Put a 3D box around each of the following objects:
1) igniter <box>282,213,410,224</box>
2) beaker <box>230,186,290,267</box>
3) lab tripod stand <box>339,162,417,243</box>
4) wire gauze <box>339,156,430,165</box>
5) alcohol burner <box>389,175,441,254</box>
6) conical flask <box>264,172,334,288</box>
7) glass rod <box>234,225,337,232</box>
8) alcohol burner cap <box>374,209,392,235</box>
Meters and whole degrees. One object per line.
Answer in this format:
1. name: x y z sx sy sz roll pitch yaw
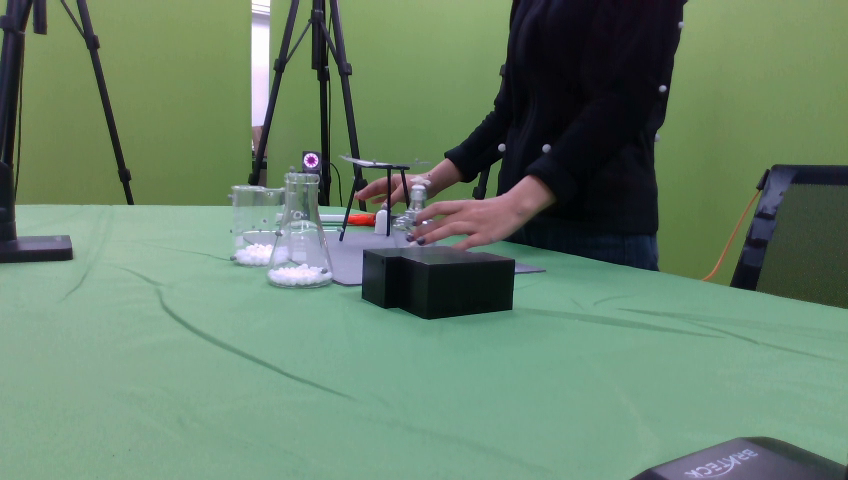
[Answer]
1. igniter: -0.159 -0.046 1.287 0.278 0.025 0.057 -1 -3 -21
2. beaker: -0.209 -0.019 0.778 0.074 0.100 0.084 3 6 4
3. lab tripod stand: -0.067 -0.065 1.027 0.148 0.131 0.148 4 7 0
4. wire gauze: -0.067 -0.132 1.022 0.122 0.011 0.124 -1 9 -31
5. alcohol burner: -0.013 -0.038 0.911 0.078 0.119 0.078 4 6 0
6. conical flask: -0.136 -0.013 0.660 0.075 0.122 0.075 2 7 0
7. glass rod: -0.256 -0.023 1.136 0.201 0.008 0.008 -3 9 -33
8. alcohol burner cap: -0.078 -0.036 1.148 0.034 0.048 0.034 3 8 0
